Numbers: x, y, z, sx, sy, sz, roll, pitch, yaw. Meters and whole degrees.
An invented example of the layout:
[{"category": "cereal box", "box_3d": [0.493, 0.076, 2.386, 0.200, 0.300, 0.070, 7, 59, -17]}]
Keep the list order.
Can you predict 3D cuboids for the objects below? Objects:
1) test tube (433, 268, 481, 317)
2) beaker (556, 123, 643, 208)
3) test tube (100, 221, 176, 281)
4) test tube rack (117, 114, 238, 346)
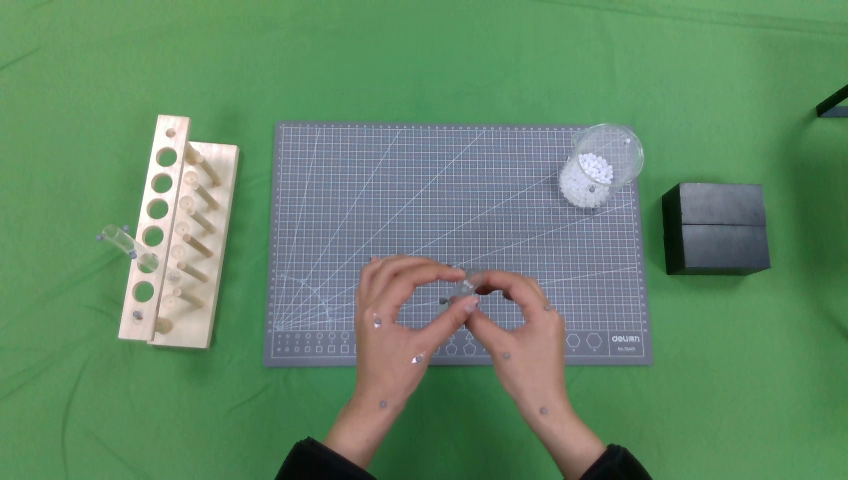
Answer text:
[{"category": "test tube", "box_3d": [0.027, 0.050, 0.549, 0.017, 0.151, 0.017, 3, 73, -8]}, {"category": "beaker", "box_3d": [0.196, -0.083, 0.705, 0.084, 0.100, 0.074, 31, 77, 6]}, {"category": "test tube", "box_3d": [-0.286, 0.015, 0.618, 0.017, 0.151, 0.017, 0, 70, 0]}, {"category": "test tube rack", "box_3d": [-0.268, -0.009, 0.674, 0.067, 0.085, 0.241, 5, 77, -1]}]
